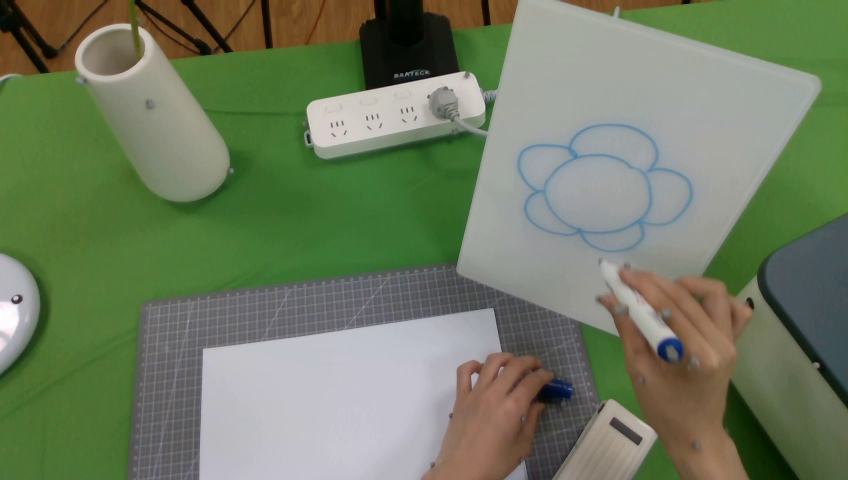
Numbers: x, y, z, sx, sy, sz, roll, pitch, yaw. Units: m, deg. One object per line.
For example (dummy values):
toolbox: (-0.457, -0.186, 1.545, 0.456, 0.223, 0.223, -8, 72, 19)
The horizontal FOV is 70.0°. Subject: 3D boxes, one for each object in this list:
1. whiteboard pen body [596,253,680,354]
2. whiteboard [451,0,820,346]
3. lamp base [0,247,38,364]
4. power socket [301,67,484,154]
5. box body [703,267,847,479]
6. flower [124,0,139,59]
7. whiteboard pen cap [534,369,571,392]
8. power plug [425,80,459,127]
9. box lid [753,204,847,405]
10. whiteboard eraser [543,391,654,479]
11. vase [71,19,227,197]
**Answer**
whiteboard pen body: (0.144, 0.037, 0.426, 0.017, 0.017, 0.139, -4, 22, -1)
whiteboard: (0.173, -0.079, 0.571, 0.216, 0.308, 0.143, 21, 45, 11)
lamp base: (-0.493, 0.037, 0.555, 0.178, 0.182, 0.160, 23, 66, 14)
power socket: (-0.037, -0.156, 0.726, 0.227, 0.033, 0.071, -12, 66, -6)
box body: (0.452, 0.143, 0.506, 0.254, 0.161, 0.361, -24, 66, -11)
flower: (-0.257, -0.159, 0.546, 0.038, 0.362, 0.044, 40, 61, 0)
whiteboard pen cap: (0.125, 0.137, 0.590, 0.033, 0.018, 0.018, 11, 64, 3)
power plug: (0.019, -0.151, 0.699, 0.035, 0.053, 0.072, -3, 70, -1)
box lid: (0.450, 0.108, 0.440, 0.263, 0.015, 0.368, -24, 67, -10)
whiteboard eraser: (0.155, 0.196, 0.547, 0.055, 0.042, 0.112, 35, 70, 17)
vase: (-0.276, -0.128, 0.622, 0.098, 0.201, 0.097, -1, 64, 2)
